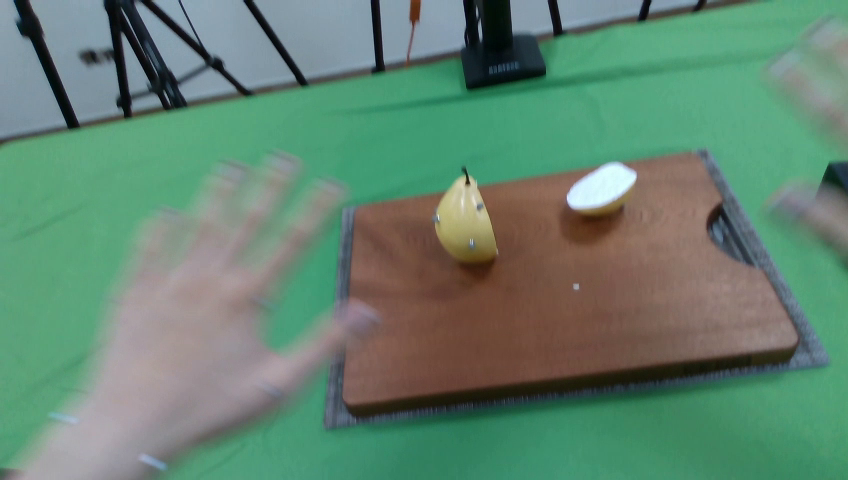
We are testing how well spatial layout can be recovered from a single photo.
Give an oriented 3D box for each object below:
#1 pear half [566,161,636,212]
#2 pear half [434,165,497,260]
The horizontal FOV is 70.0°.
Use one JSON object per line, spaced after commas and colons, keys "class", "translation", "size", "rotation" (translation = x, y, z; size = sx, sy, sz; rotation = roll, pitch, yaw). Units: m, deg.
{"class": "pear half", "translation": [0.191, -0.052, 0.643], "size": [0.070, 0.031, 0.088], "rotation": [2, 31, 36]}
{"class": "pear half", "translation": [0.036, -0.028, 0.603], "size": [0.056, 0.111, 0.075], "rotation": [-22, 42, -7]}
